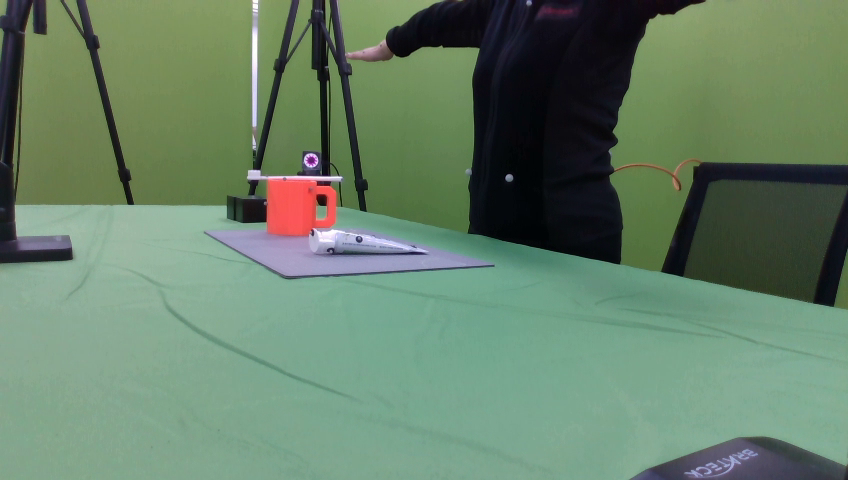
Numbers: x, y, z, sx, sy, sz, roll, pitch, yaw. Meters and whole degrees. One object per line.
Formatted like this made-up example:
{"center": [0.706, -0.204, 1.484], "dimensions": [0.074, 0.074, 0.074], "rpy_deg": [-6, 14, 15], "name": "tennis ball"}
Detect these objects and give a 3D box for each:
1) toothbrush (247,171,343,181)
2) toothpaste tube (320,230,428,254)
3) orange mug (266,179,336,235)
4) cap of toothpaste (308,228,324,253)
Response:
{"center": [-0.230, -0.115, 1.092], "dimensions": [0.183, 0.016, 0.014], "rpy_deg": [-2, 5, -35], "name": "toothbrush"}
{"center": [-0.078, 0.006, 0.891], "dimensions": [0.166, 0.034, 0.055], "rpy_deg": [4, 11, -26], "name": "toothpaste tube"}
{"center": [-0.222, -0.062, 1.094], "dimensions": [0.127, 0.101, 0.083], "rpy_deg": [-5, 10, -22], "name": "orange mug"}
{"center": [-0.153, 0.001, 0.857], "dimensions": [0.011, 0.037, 0.037], "rpy_deg": [-5, 10, -36], "name": "cap of toothpaste"}
